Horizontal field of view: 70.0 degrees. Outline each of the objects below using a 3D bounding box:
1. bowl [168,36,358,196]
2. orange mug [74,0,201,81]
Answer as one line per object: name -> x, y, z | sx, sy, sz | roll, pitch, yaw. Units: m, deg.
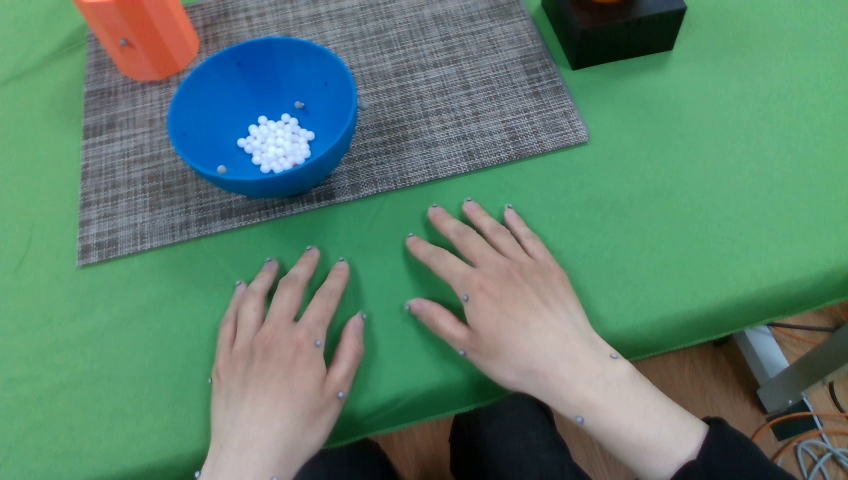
bowl -> -0.124, -0.089, 0.510 | 0.151, 0.077, 0.150 | -2, 60, 3
orange mug -> -0.277, -0.235, 0.592 | 0.083, 0.101, 0.125 | -3, 65, 3
